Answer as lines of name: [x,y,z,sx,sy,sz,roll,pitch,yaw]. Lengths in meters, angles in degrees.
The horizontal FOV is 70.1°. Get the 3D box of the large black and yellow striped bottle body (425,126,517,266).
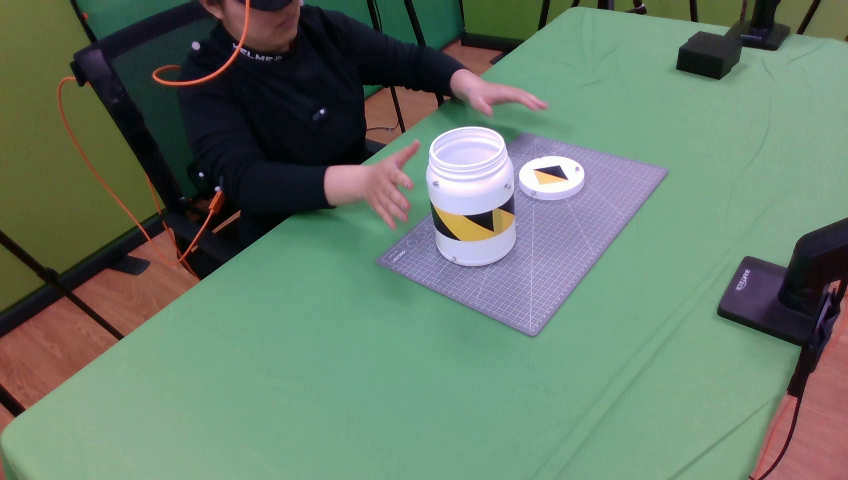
large black and yellow striped bottle body: [0.072,-0.066,0.917,0.131,0.185,0.130,-5,40,5]

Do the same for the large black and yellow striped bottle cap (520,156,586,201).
large black and yellow striped bottle cap: [0.228,-0.111,1.072,0.115,0.019,0.114,-6,40,6]
